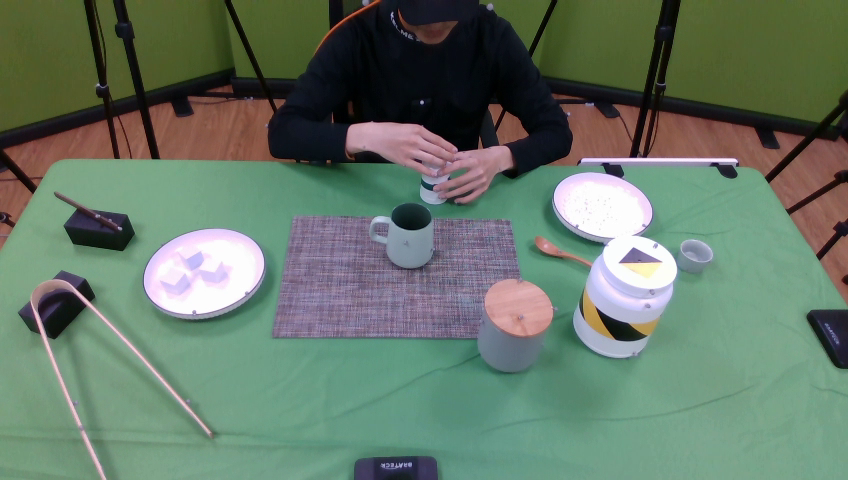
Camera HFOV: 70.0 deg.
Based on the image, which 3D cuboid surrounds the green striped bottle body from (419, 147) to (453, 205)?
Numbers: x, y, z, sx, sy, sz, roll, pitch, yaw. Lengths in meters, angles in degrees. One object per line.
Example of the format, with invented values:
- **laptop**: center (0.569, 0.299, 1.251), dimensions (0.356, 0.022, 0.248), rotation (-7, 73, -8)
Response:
- **green striped bottle body**: center (0.025, -0.136, 1.262), dimensions (0.063, 0.120, 0.063), rotation (3, 45, -3)

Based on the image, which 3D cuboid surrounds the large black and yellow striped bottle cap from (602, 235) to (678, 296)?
- **large black and yellow striped bottle cap**: center (0.340, 0.037, 0.955), dimensions (0.115, 0.019, 0.114), rotation (2, 47, -1)

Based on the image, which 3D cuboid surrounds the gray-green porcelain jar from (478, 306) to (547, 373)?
- **gray-green porcelain jar**: center (0.144, 0.148, 0.989), dimensions (0.106, 0.127, 0.105), rotation (2, 50, -2)

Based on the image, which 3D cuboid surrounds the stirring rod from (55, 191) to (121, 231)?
- **stirring rod**: center (-0.632, -0.055, 1.138), dimensions (0.175, 0.014, 0.006), rotation (24, 50, 19)

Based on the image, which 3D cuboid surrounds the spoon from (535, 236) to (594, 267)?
- **spoon**: center (0.303, 0.040, 1.178), dimensions (0.193, 0.022, 0.041), rotation (25, 30, 19)

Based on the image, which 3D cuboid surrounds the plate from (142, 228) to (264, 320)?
- **plate**: center (-0.394, 0.064, 1.095), dimensions (0.208, 0.039, 0.206), rotation (2, 46, -2)

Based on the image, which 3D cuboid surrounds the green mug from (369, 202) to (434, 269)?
- **green mug**: center (-0.042, -0.010, 1.140), dimensions (0.125, 0.105, 0.092), rotation (7, 47, 4)

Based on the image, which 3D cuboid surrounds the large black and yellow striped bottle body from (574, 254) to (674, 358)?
- **large black and yellow striped bottle body**: center (0.335, 0.096, 1.014), dimensions (0.131, 0.185, 0.130), rotation (2, 46, -2)

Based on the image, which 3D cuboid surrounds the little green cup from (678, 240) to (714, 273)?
- **little green cup**: center (0.530, 0.033, 1.190), dimensions (0.061, 0.039, 0.061), rotation (1, 46, -1)

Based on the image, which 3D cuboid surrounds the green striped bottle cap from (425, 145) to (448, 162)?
- **green striped bottle cap**: center (0.025, -0.174, 1.218), dimensions (0.044, 0.020, 0.044), rotation (12, 30, -7)

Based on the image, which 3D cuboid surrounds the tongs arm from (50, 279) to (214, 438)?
- **tongs arm**: center (-0.459, 0.178, 0.949), dimensions (0.386, 0.028, 0.028), rotation (37, 60, 17)

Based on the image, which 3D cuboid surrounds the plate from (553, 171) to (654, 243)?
- **plate**: center (0.373, -0.066, 1.275), dimensions (0.209, 0.038, 0.208), rotation (2, 46, -2)

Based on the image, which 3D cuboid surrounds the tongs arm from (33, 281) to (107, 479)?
- **tongs arm**: center (-0.517, 0.214, 0.910), dimensions (0.051, 0.026, 0.383), rotation (-29, 63, -26)

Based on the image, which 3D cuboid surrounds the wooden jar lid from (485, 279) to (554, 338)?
- **wooden jar lid**: center (0.147, 0.108, 0.940), dimensions (0.108, 0.021, 0.107), rotation (4, 47, -4)
